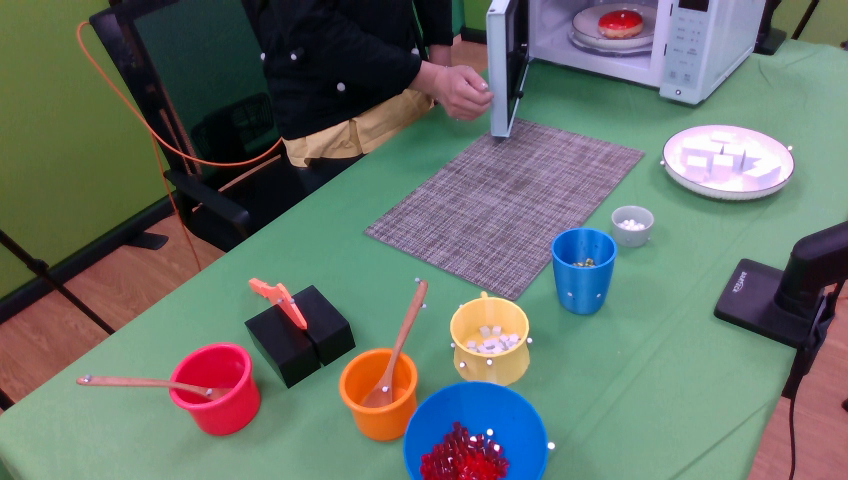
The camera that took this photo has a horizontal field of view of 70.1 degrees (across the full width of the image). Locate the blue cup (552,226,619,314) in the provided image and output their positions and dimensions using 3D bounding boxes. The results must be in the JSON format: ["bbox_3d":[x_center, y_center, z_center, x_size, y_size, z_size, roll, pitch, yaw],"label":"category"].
[{"bbox_3d":[0.218,0.047,0.825,0.092,0.101,0.092,-6,40,5],"label":"blue cup"}]

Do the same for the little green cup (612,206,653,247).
[{"bbox_3d":[0.321,-0.019,0.936,0.061,0.039,0.061,-4,41,4],"label":"little green cup"}]

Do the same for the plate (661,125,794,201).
[{"bbox_3d":[0.513,-0.128,1.035,0.207,0.039,0.206,-4,40,4],"label":"plate"}]

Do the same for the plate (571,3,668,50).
[{"bbox_3d":[0.435,-0.476,1.357,0.209,0.038,0.208,-5,41,5],"label":"plate"}]

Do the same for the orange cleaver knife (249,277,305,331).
[{"bbox_3d":[-0.210,0.088,0.856,0.012,0.077,0.210,-28,15,-24],"label":"orange cleaver knife"}]

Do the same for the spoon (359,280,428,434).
[{"bbox_3d":[-0.032,0.138,0.719,0.041,0.193,0.022,22,4,30],"label":"spoon"}]

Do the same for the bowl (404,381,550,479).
[{"bbox_3d":[0.058,0.235,0.645,0.151,0.077,0.150,-4,39,4],"label":"bowl"}]

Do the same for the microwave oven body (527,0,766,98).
[{"bbox_3d":[0.472,-0.513,1.317,0.438,0.261,0.327,26,51,34],"label":"microwave oven body"}]

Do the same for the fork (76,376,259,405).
[{"bbox_3d":[-0.296,0.176,0.716,0.209,0.018,0.028,19,28,-36],"label":"fork"}]

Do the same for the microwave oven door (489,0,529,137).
[{"bbox_3d":[0.178,-0.407,1.229,0.039,0.245,0.355,4,42,14],"label":"microwave oven door"}]

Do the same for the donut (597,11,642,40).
[{"bbox_3d":[0.435,-0.479,1.347,0.099,0.048,0.098,-4,39,4],"label":"donut"}]

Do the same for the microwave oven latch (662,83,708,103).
[{"bbox_3d":[0.518,-0.296,1.204,0.078,0.029,0.030,28,52,35],"label":"microwave oven latch"}]

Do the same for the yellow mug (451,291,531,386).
[{"bbox_3d":[0.085,0.120,0.786,0.100,0.064,0.130,-7,39,1],"label":"yellow mug"}]
